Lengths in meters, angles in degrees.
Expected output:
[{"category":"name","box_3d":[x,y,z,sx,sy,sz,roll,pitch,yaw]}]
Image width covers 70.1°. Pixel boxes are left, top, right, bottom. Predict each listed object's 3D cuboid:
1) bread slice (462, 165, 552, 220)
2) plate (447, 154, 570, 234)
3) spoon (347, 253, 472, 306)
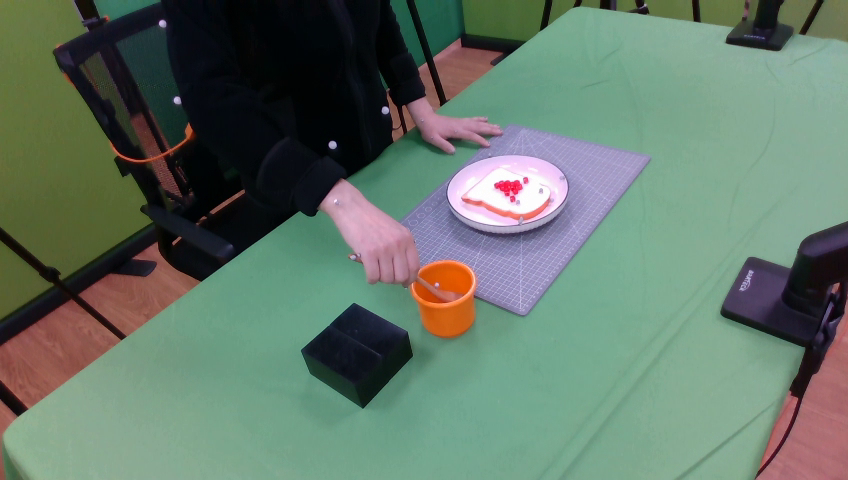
[{"category":"bread slice","box_3d":[0.150,-0.079,1.036,0.133,0.018,0.107,22,50,31]},{"category":"plate","box_3d":[0.143,-0.076,1.032,0.209,0.038,0.208,-5,40,5]},{"category":"spoon","box_3d":[-0.015,0.051,0.783,0.021,0.195,0.041,-60,31,4]}]
